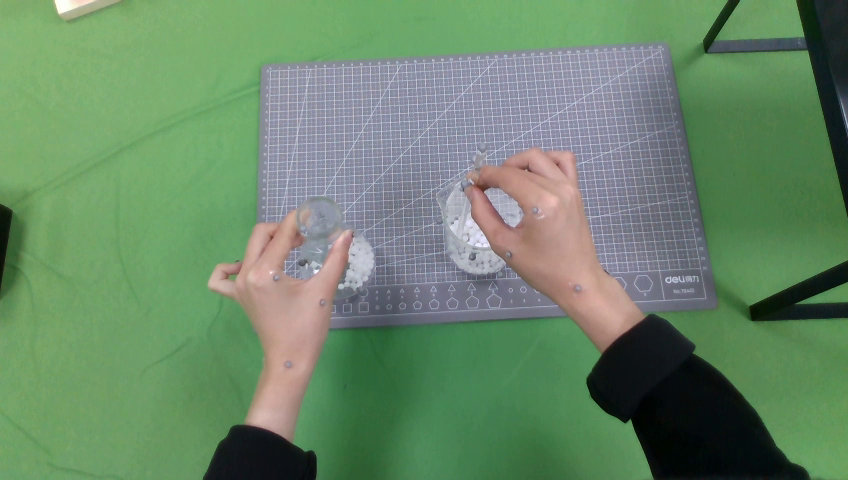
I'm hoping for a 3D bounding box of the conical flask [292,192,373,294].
[{"bbox_3d":[-0.087,-0.002,0.540,0.075,0.122,0.075,0,69,0],"label":"conical flask"}]

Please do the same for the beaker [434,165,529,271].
[{"bbox_3d":[0.050,-0.016,0.563,0.084,0.101,0.073,20,74,8],"label":"beaker"}]

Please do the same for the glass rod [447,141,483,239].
[{"bbox_3d":[0.031,-0.035,0.504,0.008,0.200,0.008,1,72,-3],"label":"glass rod"}]

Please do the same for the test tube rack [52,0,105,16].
[{"bbox_3d":[-0.322,-0.346,0.678,0.242,0.085,0.066,-23,74,-6],"label":"test tube rack"}]
